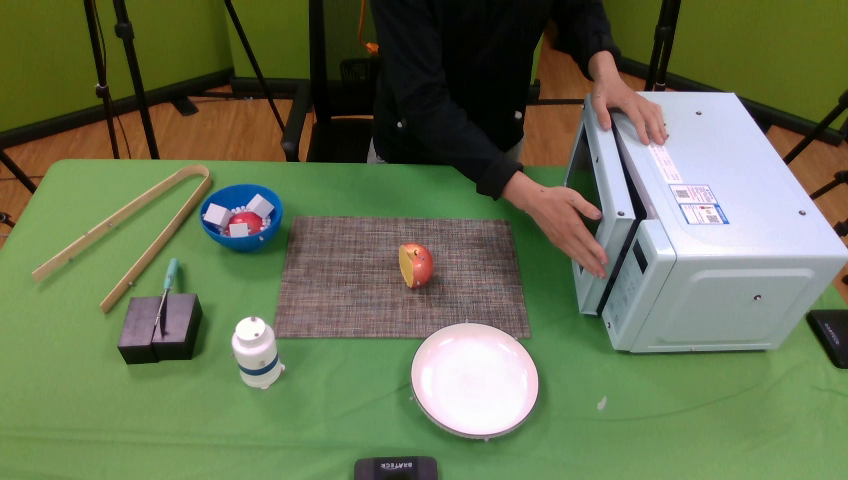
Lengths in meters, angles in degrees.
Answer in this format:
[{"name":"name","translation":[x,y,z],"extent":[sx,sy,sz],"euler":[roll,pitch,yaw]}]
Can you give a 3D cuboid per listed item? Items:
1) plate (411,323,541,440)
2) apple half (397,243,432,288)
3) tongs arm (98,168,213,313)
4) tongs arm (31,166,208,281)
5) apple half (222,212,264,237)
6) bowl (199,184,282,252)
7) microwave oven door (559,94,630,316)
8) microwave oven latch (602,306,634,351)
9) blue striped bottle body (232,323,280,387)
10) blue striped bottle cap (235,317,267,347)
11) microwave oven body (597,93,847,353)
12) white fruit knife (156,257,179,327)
[{"name":"plate","translation":[0.082,0.228,0.976],"extent":[0.208,0.039,0.206],"euler":[2,45,-2]},{"name":"apple half","translation":[-0.013,0.047,1.115],"extent":[0.053,0.075,0.080],"euler":[-10,43,-21]},{"name":"tongs arm","translation":[-0.503,-0.012,1.167],"extent":[0.028,0.028,0.385],"euler":[11,45,11]},{"name":"tongs arm","translation":[-0.578,-0.040,1.185],"extent":[0.050,0.026,0.384],"euler":[23,47,17]},{"name":"apple half","translation":[-0.346,-0.033,1.161],"extent":[0.081,0.033,0.081],"euler":[3,47,-3]},{"name":"bowl","translation":[-0.346,-0.030,1.164],"extent":[0.151,0.077,0.150],"euler":[3,46,-3]},{"name":"microwave oven door","translation":[0.308,-0.075,1.122],"extent":[0.039,0.245,0.353],"euler":[4,46,0]},{"name":"microwave oven latch","translation":[0.333,0.153,1.044],"extent":[0.030,0.029,0.078],"euler":[-1,45,-4]},{"name":"blue striped bottle body","translation":[-0.262,0.171,0.944],"extent":[0.063,0.121,0.062],"euler":[2,46,-2]},{"name":"blue striped bottle cap","translation":[-0.259,0.137,0.907],"extent":[0.044,0.021,0.044],"euler":[3,43,-2]},{"name":"microwave oven body","translation":[0.476,-0.041,1.110],"extent":[0.326,0.261,0.438],"euler":[-1,45,-4]},{"name":"white fruit knife","translation":[-0.440,0.085,1.037],"extent":[0.016,0.027,0.206],"euler":[10,26,-19]}]
